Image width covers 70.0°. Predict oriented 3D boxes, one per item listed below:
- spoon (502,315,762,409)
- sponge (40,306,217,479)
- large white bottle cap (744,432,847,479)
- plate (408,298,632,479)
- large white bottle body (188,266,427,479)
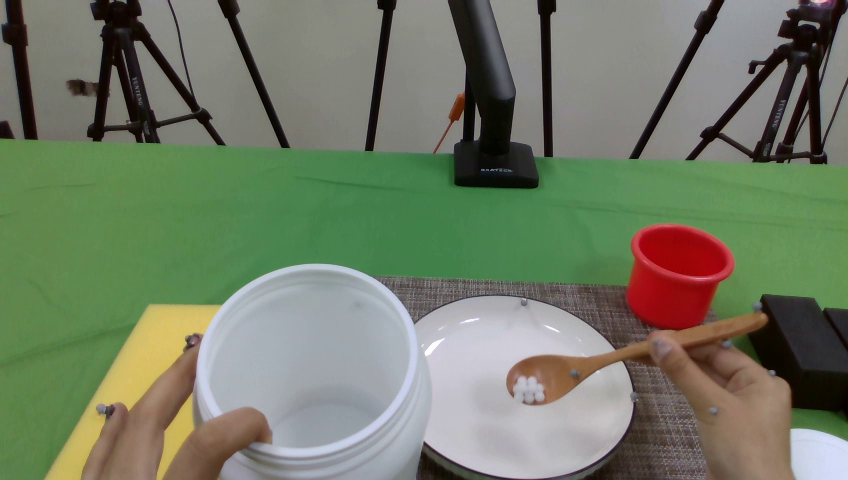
[{"bbox_3d":[0.146,0.088,0.449,0.193,0.022,0.041,-24,48,29],"label":"spoon"},{"bbox_3d":[-0.196,0.142,0.482,0.118,0.061,0.205,0,35,1],"label":"sponge"},{"bbox_3d":[0.308,0.198,0.463,0.115,0.018,0.113,3,36,-2],"label":"large white bottle cap"},{"bbox_3d":[0.071,0.130,0.528,0.209,0.038,0.207,2,35,-1],"label":"plate"},{"bbox_3d":[-0.066,0.112,0.371,0.131,0.186,0.129,3,51,-4],"label":"large white bottle body"}]
